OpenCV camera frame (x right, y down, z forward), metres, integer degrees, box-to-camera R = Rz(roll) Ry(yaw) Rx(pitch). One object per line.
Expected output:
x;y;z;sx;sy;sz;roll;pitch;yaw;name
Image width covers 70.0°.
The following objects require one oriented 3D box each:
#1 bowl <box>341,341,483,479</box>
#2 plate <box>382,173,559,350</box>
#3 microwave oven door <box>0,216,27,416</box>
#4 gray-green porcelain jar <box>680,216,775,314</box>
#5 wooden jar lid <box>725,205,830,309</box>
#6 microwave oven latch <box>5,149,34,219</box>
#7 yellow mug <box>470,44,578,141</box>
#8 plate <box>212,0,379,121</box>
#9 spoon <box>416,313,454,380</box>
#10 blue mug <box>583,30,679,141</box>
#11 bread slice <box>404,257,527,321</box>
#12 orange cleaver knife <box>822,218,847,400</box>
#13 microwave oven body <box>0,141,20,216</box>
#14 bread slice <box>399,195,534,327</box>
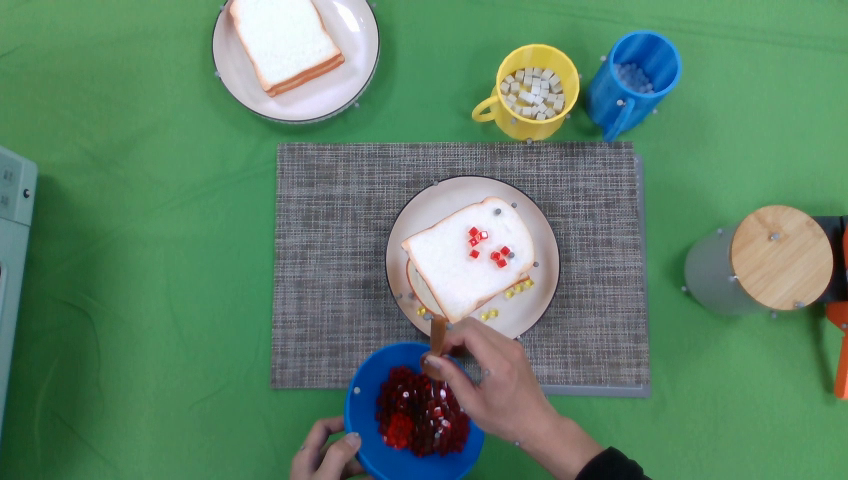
-0.022;0.189;0.633;0.152;0.077;0.150;14;55;-19;bowl
0.054;0.025;0.721;0.209;0.038;0.208;0;81;-1;plate
-0.492;0.133;0.576;0.039;0.244;0.354;2;80;0;microwave oven door
0.361;0.029;0.686;0.106;0.127;0.105;0;81;-1;gray-green porcelain jar
0.361;0.018;0.624;0.108;0.021;0.108;0;83;-3;wooden jar lid
-0.482;-0.066;0.710;0.030;0.029;0.079;6;81;0;microwave oven latch
0.118;-0.175;0.745;0.131;0.064;0.099;-20;81;-3;yellow mug
-0.159;-0.246;0.765;0.208;0.039;0.207;0;81;-1;plate
0.011;0.105;0.576;0.041;0.195;0.021;20;69;9;spoon
0.239;-0.174;0.727;0.082;0.106;0.116;21;81;3;blue mug
0.045;0.034;0.724;0.131;0.019;0.104;-32;81;-9;bread slice
0.488;0.080;0.701;0.012;0.077;0.212;-1;107;0;orange cleaver knife
-0.636;0.086;0.585;0.326;0.261;0.440;2;81;-1;microwave oven body
0.052;0.013;0.664;0.134;0.018;0.107;-34;89;-13;bread slice
